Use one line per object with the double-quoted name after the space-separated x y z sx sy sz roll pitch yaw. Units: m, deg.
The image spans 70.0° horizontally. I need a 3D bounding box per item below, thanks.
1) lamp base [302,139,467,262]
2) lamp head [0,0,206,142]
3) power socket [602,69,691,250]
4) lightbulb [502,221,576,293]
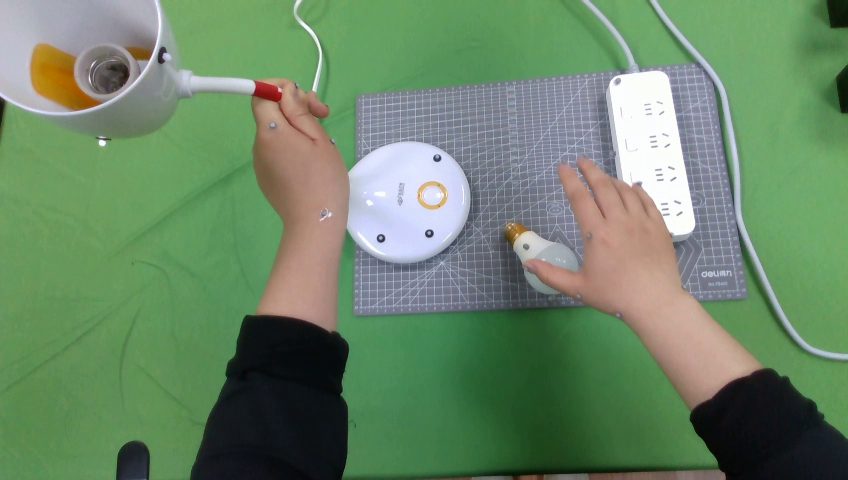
-0.051 -0.069 0.674 0.179 0.181 0.159 -10 73 9 "lamp base"
-0.215 -0.117 0.412 0.112 0.123 0.112 0 82 1 "lamp head"
0.260 -0.101 0.714 0.072 0.033 0.225 -5 73 6 "power socket"
0.127 0.016 0.693 0.059 0.060 0.106 -40 57 -4 "lightbulb"
